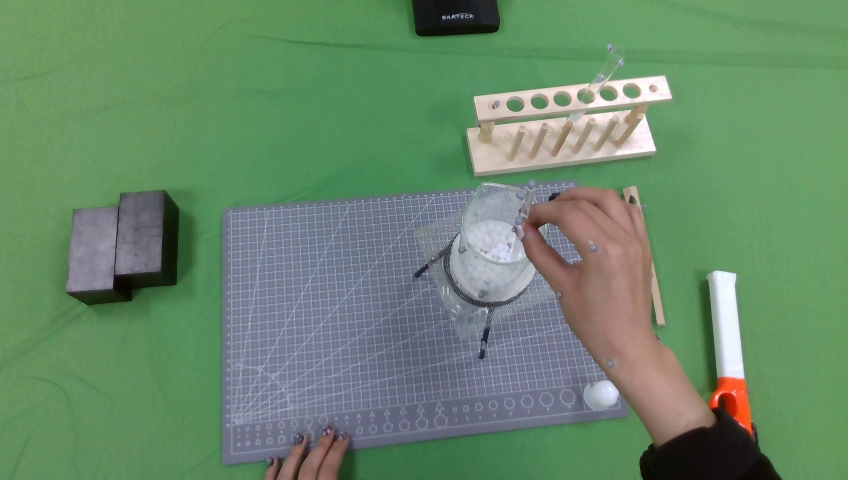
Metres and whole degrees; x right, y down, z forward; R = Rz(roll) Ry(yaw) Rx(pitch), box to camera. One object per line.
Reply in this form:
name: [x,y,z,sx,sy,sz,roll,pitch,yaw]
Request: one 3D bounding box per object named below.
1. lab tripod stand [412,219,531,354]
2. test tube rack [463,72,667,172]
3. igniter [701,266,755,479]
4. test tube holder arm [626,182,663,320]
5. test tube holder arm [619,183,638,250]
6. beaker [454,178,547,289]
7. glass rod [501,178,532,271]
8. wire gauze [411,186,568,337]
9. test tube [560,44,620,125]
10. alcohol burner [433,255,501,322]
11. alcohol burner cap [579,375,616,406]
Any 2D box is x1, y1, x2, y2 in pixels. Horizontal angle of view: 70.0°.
lab tripod stand: [0.055,0.042,0.663,0.148,0.132,0.147,1,71,-1]
test tube rack: [0.177,-0.148,0.769,0.243,0.085,0.066,-8,70,-6]
igniter: [0.347,0.164,0.697,0.057,0.025,0.274,9,69,-11]
test tube holder arm: [0.272,0.011,0.751,0.013,0.015,0.177,-17,69,27]
test tube holder arm: [0.262,-0.029,0.768,0.010,0.015,0.087,-17,69,27]
beaker: [0.063,-0.002,0.558,0.074,0.101,0.083,-20,71,-8]
glass rod: [0.073,-0.006,0.501,0.008,0.201,0.008,-1,70,2]
wire gauze: [0.063,0.017,0.602,0.121,0.011,0.124,-22,74,-7]
test tube: [0.197,-0.182,0.730,0.017,0.151,0.017,3,68,-8]
alcohol burner: [0.049,0.048,0.671,0.078,0.120,0.077,1,68,-2]
alcohol burner cap: [0.196,0.165,0.675,0.034,0.048,0.033,1,69,-3]
